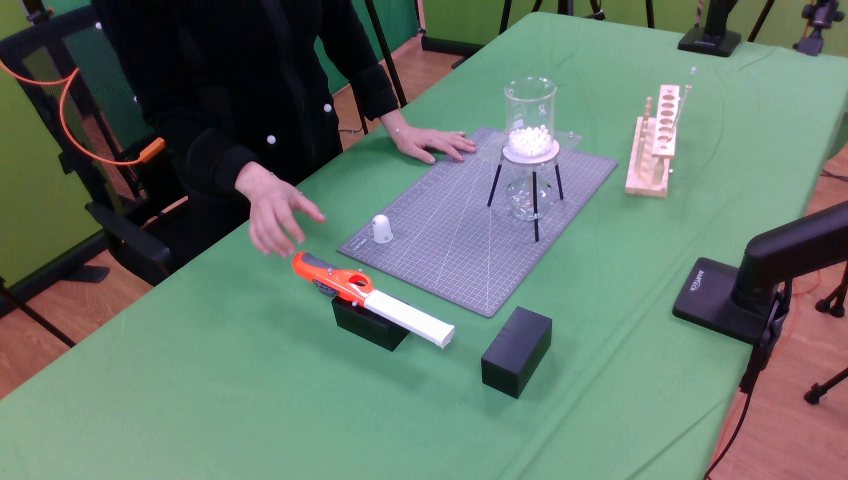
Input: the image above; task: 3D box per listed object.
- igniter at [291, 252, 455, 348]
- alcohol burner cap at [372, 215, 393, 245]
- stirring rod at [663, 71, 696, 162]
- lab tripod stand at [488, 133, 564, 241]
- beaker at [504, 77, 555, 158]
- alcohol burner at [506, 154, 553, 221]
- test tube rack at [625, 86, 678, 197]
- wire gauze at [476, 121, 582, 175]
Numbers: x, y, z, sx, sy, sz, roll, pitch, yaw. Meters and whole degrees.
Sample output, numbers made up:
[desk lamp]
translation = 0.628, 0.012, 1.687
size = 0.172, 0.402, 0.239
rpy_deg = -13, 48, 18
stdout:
[igniter]
translation = -0.080, 0.076, 0.822
size = 0.274, 0.025, 0.057
rpy_deg = 23, 46, 27
[alcohol burner cap]
translation = -0.070, -0.019, 0.990
size = 0.034, 0.048, 0.033
rpy_deg = -4, 42, 4
[stirring rod]
translation = 0.410, -0.195, 0.981
size = 0.014, 0.177, 0.006
rpy_deg = 12, 50, 14
[lab tripod stand]
translation = 0.168, -0.093, 0.972
size = 0.148, 0.132, 0.147
rpy_deg = -5, 41, 5
[beaker]
translation = 0.160, -0.181, 0.900
size = 0.084, 0.101, 0.073
rpy_deg = -33, 46, -27
[alcohol burner]
translation = 0.171, -0.090, 0.984
size = 0.078, 0.119, 0.077
rpy_deg = -5, 42, 5
[test tube rack]
translation = 0.412, -0.184, 1.088
size = 0.066, 0.085, 0.242
rpy_deg = 9, 43, 18
[wire gauze]
translation = 0.162, -0.142, 0.929
size = 0.120, 0.011, 0.125
rpy_deg = 19, 49, 32
